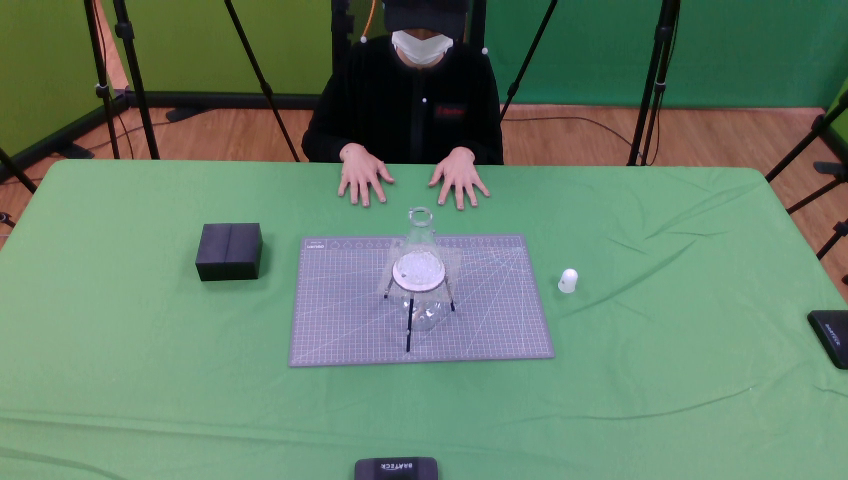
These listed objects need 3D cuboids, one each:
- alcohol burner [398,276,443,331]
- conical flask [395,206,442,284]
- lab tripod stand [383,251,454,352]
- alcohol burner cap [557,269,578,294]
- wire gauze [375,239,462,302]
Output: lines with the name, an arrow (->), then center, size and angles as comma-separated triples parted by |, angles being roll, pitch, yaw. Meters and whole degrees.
alcohol burner -> -0.005, 0.100, 1.033 | 0.078, 0.119, 0.077 | 3, 48, -3
conical flask -> -0.007, 0.005, 0.937 | 0.075, 0.122, 0.075 | 2, 45, -1
lab tripod stand -> -0.016, 0.094, 1.025 | 0.148, 0.132, 0.147 | 1, 46, -1
alcohol burner cap -> 0.270, 0.074, 1.135 | 0.034, 0.048, 0.033 | 3, 46, -2
wire gauze -> -0.006, 0.049, 0.977 | 0.121, 0.011, 0.124 | 10, 44, 5
